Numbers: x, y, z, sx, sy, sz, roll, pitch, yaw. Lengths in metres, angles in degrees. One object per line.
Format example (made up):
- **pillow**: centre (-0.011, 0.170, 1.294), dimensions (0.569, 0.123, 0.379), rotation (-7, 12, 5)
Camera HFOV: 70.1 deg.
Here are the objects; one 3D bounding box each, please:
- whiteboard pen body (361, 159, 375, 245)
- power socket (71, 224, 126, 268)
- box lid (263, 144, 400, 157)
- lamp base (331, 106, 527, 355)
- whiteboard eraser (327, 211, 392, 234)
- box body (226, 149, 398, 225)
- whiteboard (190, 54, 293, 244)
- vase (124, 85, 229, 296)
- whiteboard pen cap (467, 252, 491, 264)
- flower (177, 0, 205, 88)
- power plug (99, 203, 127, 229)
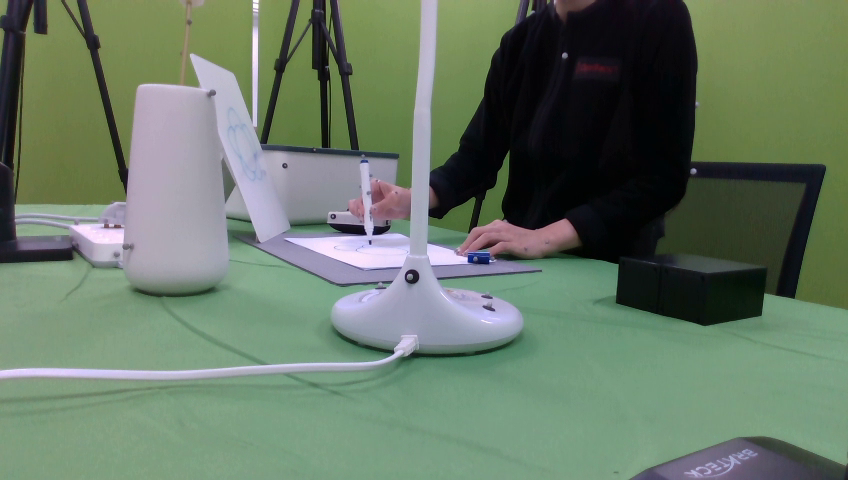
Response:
- **whiteboard pen body**: centre (-0.091, -0.062, 0.982), dimensions (0.017, 0.140, 0.017), rotation (-4, -4, 0)
- **power socket**: centre (-0.409, 0.004, 0.793), dimensions (0.072, 0.032, 0.225), rotation (-2, 8, -37)
- **box lid**: centre (-0.263, -0.203, 1.369), dimensions (0.262, 0.015, 0.373), rotation (9, 10, 39)
- **lamp base**: centre (0.006, -0.012, 0.478), dimensions (0.161, 0.180, 0.179), rotation (2, 10, 2)
- **whiteboard eraser**: centre (-0.120, -0.033, 1.131), dimensions (0.112, 0.042, 0.056), rotation (4, 8, 13)
- **box body**: centre (-0.265, -0.129, 1.380), dimensions (0.253, 0.160, 0.366), rotation (8, 9, 39)
- **whiteboard**: centre (-0.362, -0.129, 1.029), dimensions (0.144, 0.305, 0.217), rotation (-18, 7, 3)
- **vase**: centre (-0.244, -0.047, 0.598), dimensions (0.098, 0.200, 0.098), rotation (3, 8, 0)
- **whiteboard pen cap**: centre (0.076, 0.025, 0.841), dimensions (0.033, 0.018, 0.018), rotation (1, 7, 4)
- **flower**: centre (-0.243, -0.131, 0.609), dimensions (0.044, 0.361, 0.038), rotation (-5, -12, 11)
- **power plug**: centre (-0.415, -0.026, 0.848), dimensions (0.073, 0.052, 0.035), rotation (6, 5, -28)
